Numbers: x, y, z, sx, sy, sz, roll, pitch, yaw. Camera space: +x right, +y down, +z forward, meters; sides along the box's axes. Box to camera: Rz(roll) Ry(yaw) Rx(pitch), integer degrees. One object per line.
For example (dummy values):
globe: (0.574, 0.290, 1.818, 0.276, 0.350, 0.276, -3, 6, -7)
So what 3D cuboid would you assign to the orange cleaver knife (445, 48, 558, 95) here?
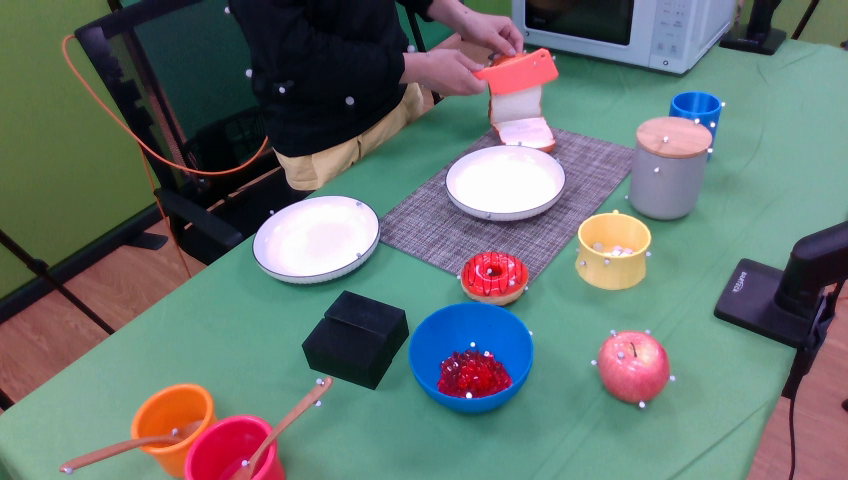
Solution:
orange cleaver knife: (0.147, -0.312, 1.153, 0.211, 0.077, 0.012, -10, 46, 9)

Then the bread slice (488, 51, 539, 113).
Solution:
bread slice: (0.184, -0.319, 1.229, 0.107, 0.135, 0.018, -4, 46, 1)

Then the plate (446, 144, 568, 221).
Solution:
plate: (0.142, -0.096, 1.045, 0.207, 0.039, 0.206, -4, 40, 4)

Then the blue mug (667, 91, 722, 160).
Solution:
blue mug: (0.474, -0.207, 1.079, 0.082, 0.106, 0.116, 4, 42, 13)

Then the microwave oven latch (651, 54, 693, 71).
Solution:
microwave oven latch: (0.532, -0.386, 1.301, 0.078, 0.029, 0.030, 26, 51, 34)

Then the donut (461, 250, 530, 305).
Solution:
donut: (0.103, 0.053, 0.872, 0.099, 0.048, 0.098, -5, 40, 4)

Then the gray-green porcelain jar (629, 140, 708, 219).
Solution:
gray-green porcelain jar: (0.383, -0.105, 0.958, 0.106, 0.127, 0.105, -4, 41, 4)

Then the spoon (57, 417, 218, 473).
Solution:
spoon: (-0.304, 0.221, 0.661, 0.041, 0.195, 0.021, 19, 92, 27)

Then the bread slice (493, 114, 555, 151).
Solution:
bread slice: (0.195, -0.205, 1.169, 0.105, 0.019, 0.131, -6, 37, -1)

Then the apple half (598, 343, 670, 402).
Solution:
apple half: (0.247, 0.161, 0.710, 0.081, 0.075, 0.053, 2, 47, 5)

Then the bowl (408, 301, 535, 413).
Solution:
bowl: (0.059, 0.156, 0.739, 0.151, 0.077, 0.150, -4, 40, 4)

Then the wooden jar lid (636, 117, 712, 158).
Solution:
wooden jar lid: (0.377, -0.151, 0.917, 0.108, 0.021, 0.108, -2, 41, 3)

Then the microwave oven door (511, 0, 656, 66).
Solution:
microwave oven door: (0.351, -0.540, 1.349, 0.353, 0.245, 0.039, 24, 50, 31)

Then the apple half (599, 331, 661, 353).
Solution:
apple half: (0.249, 0.134, 0.738, 0.081, 0.081, 0.032, -2, 46, 7)

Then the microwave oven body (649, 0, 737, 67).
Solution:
microwave oven body: (0.475, -0.602, 1.411, 0.438, 0.261, 0.327, 23, 50, 32)

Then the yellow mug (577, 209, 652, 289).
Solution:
yellow mug: (0.279, 0.004, 0.893, 0.099, 0.064, 0.130, 5, 41, 15)

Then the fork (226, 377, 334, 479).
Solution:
fork: (-0.163, 0.216, 0.647, 0.207, 0.019, 0.028, -49, 41, 16)

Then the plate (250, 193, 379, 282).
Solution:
plate: (-0.174, -0.001, 0.984, 0.209, 0.038, 0.208, -4, 40, 3)
